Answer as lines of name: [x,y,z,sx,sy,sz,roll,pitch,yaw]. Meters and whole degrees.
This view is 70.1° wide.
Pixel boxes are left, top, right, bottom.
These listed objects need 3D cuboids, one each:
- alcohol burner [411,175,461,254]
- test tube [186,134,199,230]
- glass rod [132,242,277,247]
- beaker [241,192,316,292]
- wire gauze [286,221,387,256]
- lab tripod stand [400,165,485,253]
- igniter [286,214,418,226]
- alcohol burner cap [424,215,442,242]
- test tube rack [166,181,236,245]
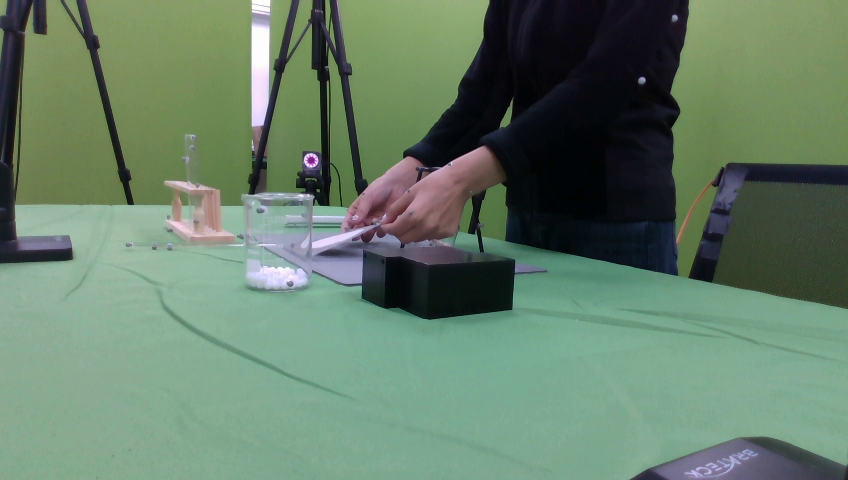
alcohol burner: [0.018,-0.040,0.931,0.078,0.119,0.078,0,7,0]
test tube: [-0.360,-0.089,0.946,0.017,0.150,0.017,0,10,0]
glass rod: [-0.316,0.007,0.884,0.201,0.008,0.008,0,7,-27]
beaker: [-0.157,0.000,0.642,0.084,0.100,0.074,4,7,19]
wire gauze: [-0.129,-0.003,0.880,0.122,0.011,0.124,-22,11,-28]
lab tripod stand: [0.027,-0.049,0.929,0.148,0.131,0.148,3,9,0]
igniter: [-0.145,-0.043,1.263,0.278,0.025,0.057,-1,-2,-24]
alcohol burner cap: [0.017,-0.022,1.098,0.034,0.048,0.034,2,8,0]
test tube rack: [-0.383,-0.051,1.024,0.067,0.085,0.241,-2,9,-31]
